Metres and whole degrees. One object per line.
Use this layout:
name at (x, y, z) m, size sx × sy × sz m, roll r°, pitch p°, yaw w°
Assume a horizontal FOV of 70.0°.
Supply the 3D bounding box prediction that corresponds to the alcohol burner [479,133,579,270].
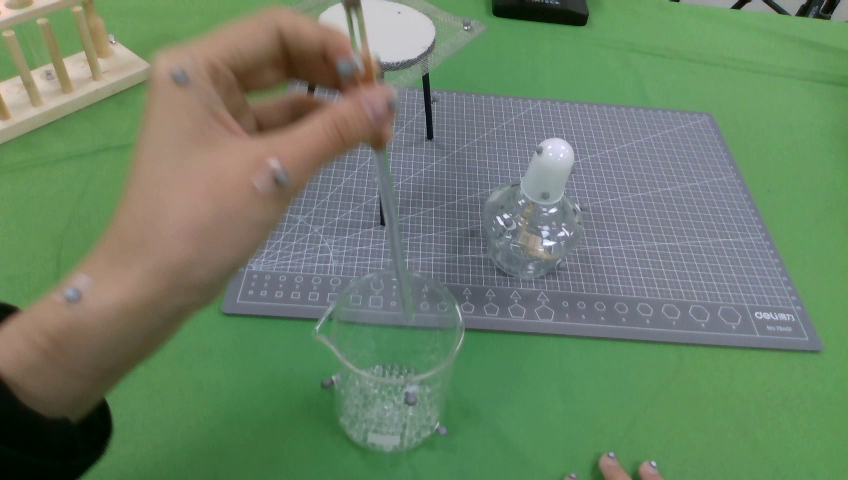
alcohol burner at (0.082, -0.033, 0.452) m, size 0.078 × 0.120 × 0.077 m, roll 5°, pitch 47°, yaw -5°

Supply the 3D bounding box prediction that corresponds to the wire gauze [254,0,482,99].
wire gauze at (-0.039, -0.160, 0.444) m, size 0.124 × 0.011 × 0.121 m, roll 36°, pitch 55°, yaw 20°

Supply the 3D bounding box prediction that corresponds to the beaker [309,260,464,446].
beaker at (-0.023, 0.072, 0.362) m, size 0.084 × 0.101 × 0.073 m, roll -3°, pitch 49°, yaw -9°

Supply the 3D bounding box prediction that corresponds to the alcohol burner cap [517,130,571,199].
alcohol burner cap at (0.086, -0.055, 0.424) m, size 0.034 × 0.048 × 0.033 m, roll 3°, pitch 53°, yaw -4°

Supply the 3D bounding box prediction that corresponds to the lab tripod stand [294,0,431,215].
lab tripod stand at (-0.043, -0.116, 0.495) m, size 0.148 × 0.132 × 0.147 m, roll 5°, pitch 50°, yaw -5°

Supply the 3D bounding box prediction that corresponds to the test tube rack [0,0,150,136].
test tube rack at (-0.370, -0.148, 0.516) m, size 0.066 × 0.086 × 0.242 m, roll 35°, pitch 54°, yaw 21°

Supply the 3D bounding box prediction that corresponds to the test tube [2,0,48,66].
test tube at (-0.353, -0.216, 0.511) m, size 0.017 × 0.151 × 0.017 m, roll 2°, pitch 46°, yaw -2°

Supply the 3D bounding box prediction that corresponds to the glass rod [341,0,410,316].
glass rod at (-0.020, -0.031, 0.263) m, size 0.008 × 0.201 × 0.008 m, roll -3°, pitch 45°, yaw 4°
